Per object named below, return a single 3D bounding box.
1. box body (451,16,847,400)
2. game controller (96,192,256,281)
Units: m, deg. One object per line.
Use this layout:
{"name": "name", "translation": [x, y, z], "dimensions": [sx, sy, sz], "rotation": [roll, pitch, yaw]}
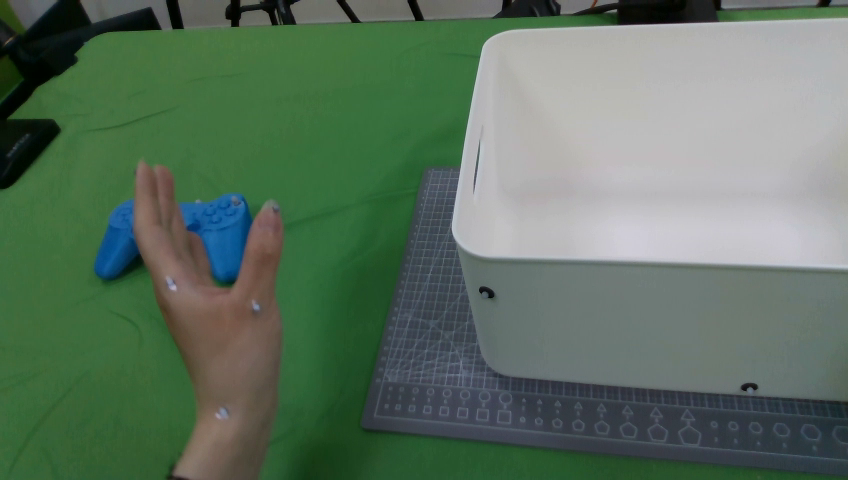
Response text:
{"name": "box body", "translation": [0.219, -0.027, 0.453], "dimensions": [0.363, 0.162, 0.252], "rotation": [1, 48, 11]}
{"name": "game controller", "translation": [-0.243, -0.010, 0.600], "dimensions": [0.155, 0.052, 0.096], "rotation": [2, 45, 11]}
